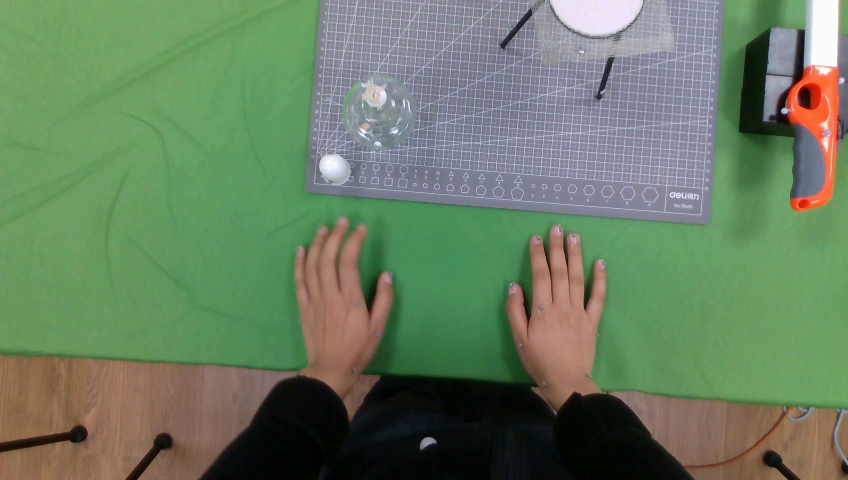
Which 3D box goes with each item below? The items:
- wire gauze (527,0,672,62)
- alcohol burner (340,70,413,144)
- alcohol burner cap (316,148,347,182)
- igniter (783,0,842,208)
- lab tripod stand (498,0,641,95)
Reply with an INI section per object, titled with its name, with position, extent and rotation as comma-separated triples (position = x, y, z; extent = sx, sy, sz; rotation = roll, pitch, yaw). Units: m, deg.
[wire gauze]
position = 0.153, -0.225, 0.544
extent = 0.125, 0.011, 0.121
rotation = -9, 88, -1
[alcohol burner]
position = -0.049, -0.139, 0.616
extent = 0.078, 0.119, 0.078
rotation = 0, 90, -1
[alcohol burner cap]
position = -0.101, -0.082, 0.650
extent = 0.034, 0.048, 0.034
rotation = 0, 88, -1
[igniter]
position = 0.401, -0.169, 0.622
extent = 0.057, 0.025, 0.276
rotation = 6, 86, 2
[lab tripod stand]
position = 0.154, -0.230, 0.611
extent = 0.148, 0.131, 0.148
rotation = 0, 87, 1
